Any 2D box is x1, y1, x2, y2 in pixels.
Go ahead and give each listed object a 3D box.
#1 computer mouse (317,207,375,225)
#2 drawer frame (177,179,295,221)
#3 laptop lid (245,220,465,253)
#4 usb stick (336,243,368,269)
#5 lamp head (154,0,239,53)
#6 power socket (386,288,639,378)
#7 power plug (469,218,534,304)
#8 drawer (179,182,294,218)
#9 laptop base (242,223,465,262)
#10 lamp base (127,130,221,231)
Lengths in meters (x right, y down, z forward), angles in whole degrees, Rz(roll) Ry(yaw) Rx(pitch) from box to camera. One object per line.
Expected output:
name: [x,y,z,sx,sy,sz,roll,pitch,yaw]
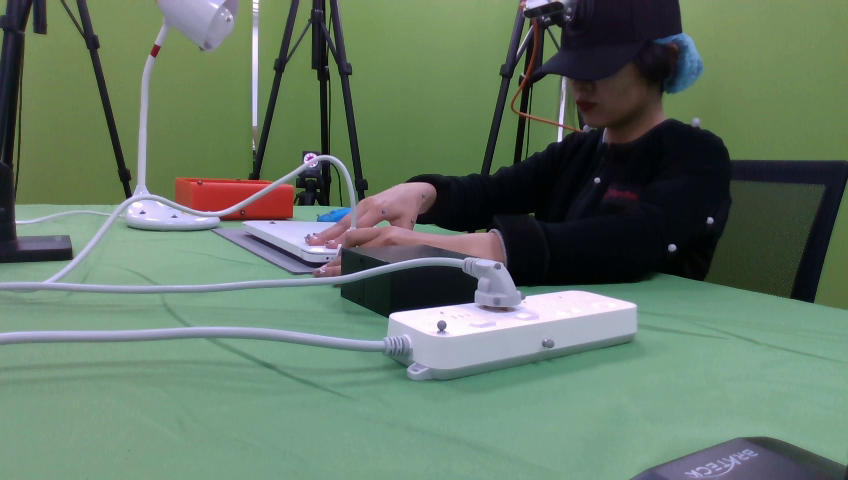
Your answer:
computer mouse: [-0.163,-0.048,1.264,0.118,0.041,0.062,-6,12,-29]
drawer frame: [-0.422,-0.092,1.352,0.215,0.082,0.200,-3,10,-32]
laptop lid: [-0.124,-0.009,0.945,0.243,0.013,0.355,1,7,-29]
usb stick: [-0.091,0.018,0.740,0.021,0.027,0.059,2,6,-35]
lamp head: [-0.406,-0.402,1.059,0.123,0.112,0.112,25,5,-6]
power socket: [0.074,0.064,0.461,0.228,0.032,0.072,-4,8,-34]
power plug: [0.054,0.013,0.454,0.035,0.072,0.052,-23,-3,-40]
drawer: [-0.420,-0.091,1.354,0.213,0.073,0.193,-3,10,-31]
laptop base: [-0.126,0.003,0.945,0.237,0.023,0.352,2,6,-31]
lamp base: [-0.469,-0.112,1.108,0.179,0.180,0.160,0,7,3]
